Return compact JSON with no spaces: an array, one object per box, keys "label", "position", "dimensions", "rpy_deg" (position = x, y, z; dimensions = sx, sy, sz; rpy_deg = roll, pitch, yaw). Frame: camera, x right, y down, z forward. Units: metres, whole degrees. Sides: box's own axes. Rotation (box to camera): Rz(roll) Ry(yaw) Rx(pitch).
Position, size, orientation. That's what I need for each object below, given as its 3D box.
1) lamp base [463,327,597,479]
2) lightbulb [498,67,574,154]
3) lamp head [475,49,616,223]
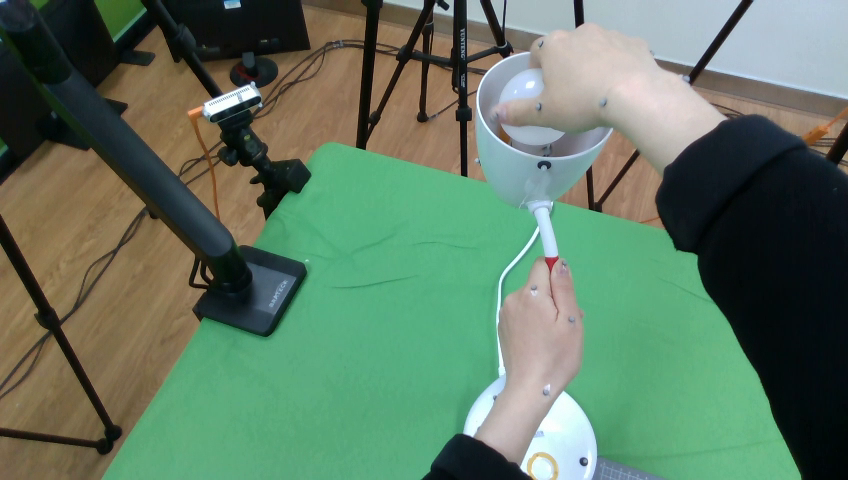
[{"label":"lamp base","position":[0.120,0.186,0.673],"dimensions":[0.161,0.182,0.177],"rpy_deg":[-20,55,-13]},{"label":"lightbulb","position":[0.091,-0.094,0.500],"dimensions":[0.059,0.108,0.059],"rpy_deg":[-3,61,6]},{"label":"lamp head","position":[0.096,-0.079,0.521],"dimensions":[0.112,0.124,0.111],"rpy_deg":[0,56,0]}]
